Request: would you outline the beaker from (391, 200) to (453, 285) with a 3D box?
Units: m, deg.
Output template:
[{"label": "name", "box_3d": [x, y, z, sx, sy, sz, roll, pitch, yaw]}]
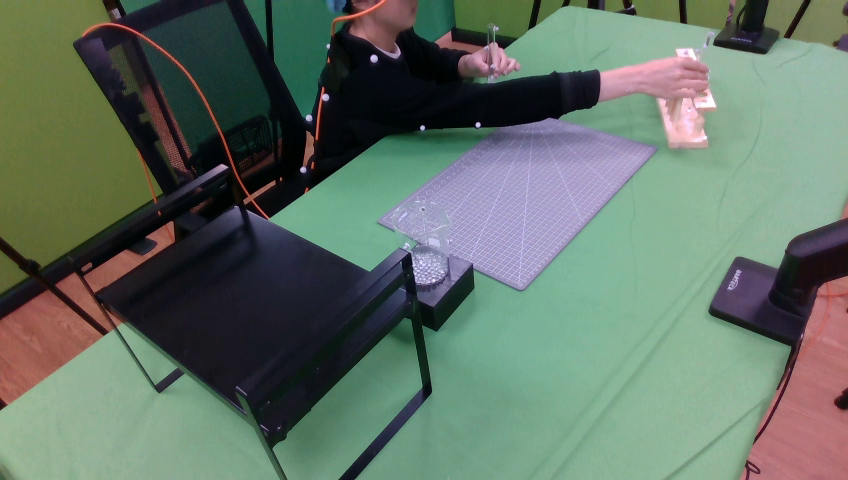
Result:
[{"label": "beaker", "box_3d": [0.002, 0.006, 0.831, 0.084, 0.101, 0.074, 5, 42, 13]}]

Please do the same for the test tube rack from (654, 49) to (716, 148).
[{"label": "test tube rack", "box_3d": [0.502, -0.280, 1.176, 0.066, 0.085, 0.241, 2, 41, 11]}]

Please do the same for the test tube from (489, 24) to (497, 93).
[{"label": "test tube", "box_3d": [0.139, -0.363, 1.221, 0.017, 0.151, 0.017, -3, 46, 4]}]

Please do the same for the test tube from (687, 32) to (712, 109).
[{"label": "test tube", "box_3d": [0.511, -0.312, 1.124, 0.017, 0.151, 0.017, -3, 42, 3]}]
